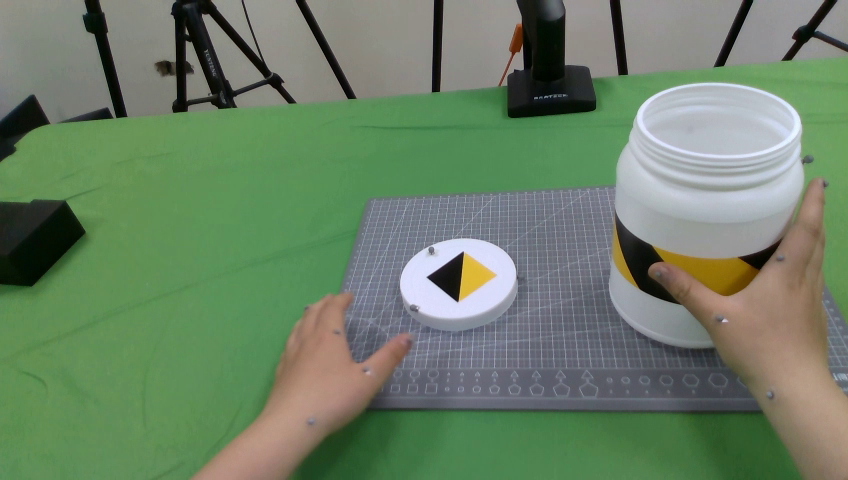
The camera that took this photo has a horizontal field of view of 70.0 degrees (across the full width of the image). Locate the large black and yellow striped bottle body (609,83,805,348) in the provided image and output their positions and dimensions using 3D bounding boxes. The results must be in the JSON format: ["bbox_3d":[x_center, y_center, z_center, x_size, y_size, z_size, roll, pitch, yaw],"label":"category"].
[{"bbox_3d":[0.220,-0.018,0.487,0.130,0.186,0.129,-6,40,6],"label":"large black and yellow striped bottle body"}]

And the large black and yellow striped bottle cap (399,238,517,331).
[{"bbox_3d":[0.033,0.040,0.592,0.115,0.019,0.114,-5,40,5],"label":"large black and yellow striped bottle cap"}]
